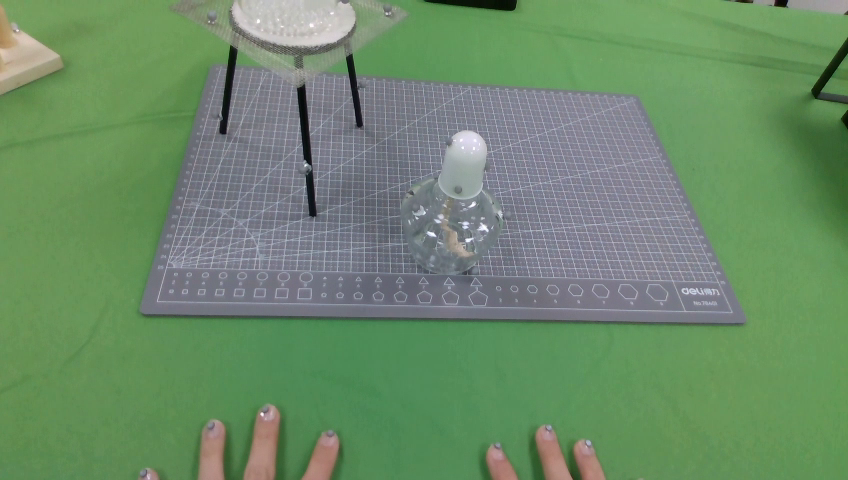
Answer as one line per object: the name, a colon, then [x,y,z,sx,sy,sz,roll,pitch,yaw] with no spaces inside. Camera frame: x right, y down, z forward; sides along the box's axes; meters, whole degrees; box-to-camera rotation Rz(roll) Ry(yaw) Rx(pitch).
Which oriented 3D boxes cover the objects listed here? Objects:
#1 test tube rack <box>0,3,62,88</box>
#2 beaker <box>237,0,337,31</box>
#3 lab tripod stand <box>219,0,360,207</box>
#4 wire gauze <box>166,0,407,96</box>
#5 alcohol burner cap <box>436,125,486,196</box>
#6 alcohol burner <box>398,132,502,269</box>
test tube rack: [-0.430,-0.143,0.476,0.066,0.086,0.242,32,52,17]
beaker: [-0.092,-0.196,0.394,0.073,0.101,0.084,33,53,17]
lab tripod stand: [-0.101,-0.121,0.480,0.149,0.132,0.147,6,50,-7]
wire gauze: [-0.094,-0.163,0.431,0.124,0.011,0.121,35,55,14]
alcohol burner cap: [0.027,-0.056,0.413,0.034,0.048,0.033,3,54,-4]
alcohol burner: [0.022,-0.034,0.441,0.078,0.120,0.077,6,48,-7]
